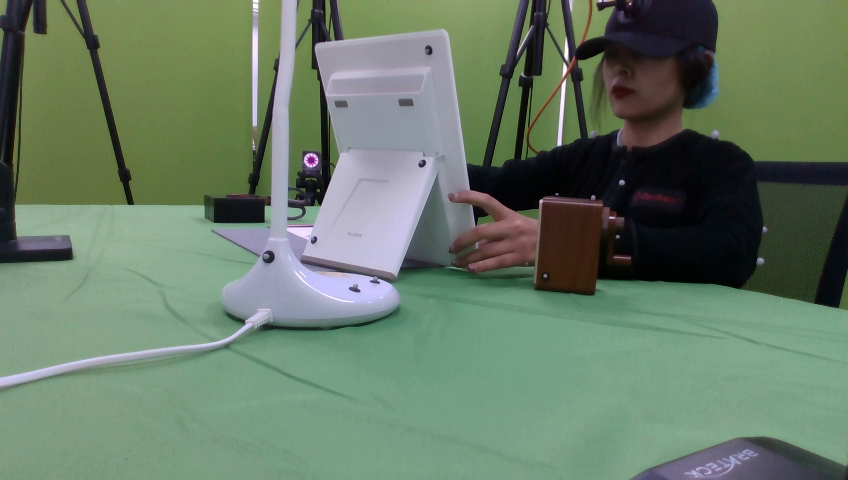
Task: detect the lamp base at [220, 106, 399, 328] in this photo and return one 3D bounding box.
[{"bbox_3d":[-0.101,-0.023,0.531,0.160,0.180,0.179,4,10,10],"label":"lamp base"}]

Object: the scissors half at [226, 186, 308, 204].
[{"bbox_3d":[-0.336,-0.096,1.305,0.176,0.040,0.013,-3,16,-29],"label":"scissors half"}]

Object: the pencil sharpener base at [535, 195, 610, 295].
[{"bbox_3d":[0.172,0.005,0.695,0.076,0.107,0.061,5,7,16],"label":"pencil sharpener base"}]

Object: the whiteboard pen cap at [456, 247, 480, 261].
[{"bbox_3d":[0.061,0.019,0.851,0.033,0.018,0.018,9,10,38],"label":"whiteboard pen cap"}]

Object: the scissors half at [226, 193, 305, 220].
[{"bbox_3d":[-0.341,-0.077,1.309,0.176,0.040,0.012,17,11,-33],"label":"scissors half"}]

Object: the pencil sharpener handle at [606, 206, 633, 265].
[{"bbox_3d":[0.222,-0.004,0.683,0.030,0.068,0.036,5,21,16],"label":"pencil sharpener handle"}]

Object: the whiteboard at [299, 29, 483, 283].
[{"bbox_3d":[-0.074,-0.081,0.741,0.216,0.305,0.144,9,30,38],"label":"whiteboard"}]

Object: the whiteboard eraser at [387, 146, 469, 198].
[{"bbox_3d":[0.002,-0.088,0.796,0.112,0.056,0.042,14,45,36],"label":"whiteboard eraser"}]

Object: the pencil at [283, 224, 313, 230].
[{"bbox_3d":[-0.221,-0.028,1.211,0.195,0.012,0.012,-5,10,-34],"label":"pencil"}]

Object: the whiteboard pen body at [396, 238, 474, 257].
[{"bbox_3d":[0.014,0.012,0.886,0.140,0.017,0.017,8,9,38],"label":"whiteboard pen body"}]
